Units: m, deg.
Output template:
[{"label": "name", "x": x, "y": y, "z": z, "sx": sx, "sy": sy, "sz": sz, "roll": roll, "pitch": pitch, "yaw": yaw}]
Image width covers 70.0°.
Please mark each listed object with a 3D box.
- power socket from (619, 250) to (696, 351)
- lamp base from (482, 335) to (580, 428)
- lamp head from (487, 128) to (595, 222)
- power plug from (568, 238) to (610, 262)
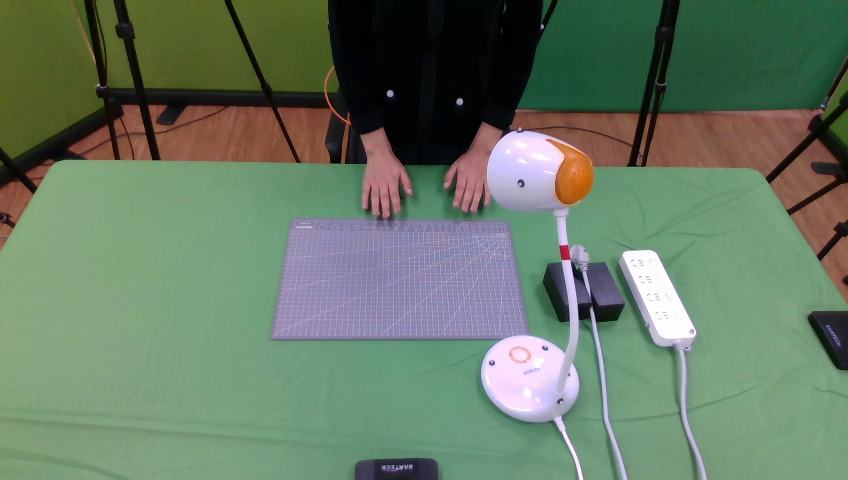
[{"label": "power socket", "x": 0.428, "y": 0.103, "z": 1.121, "sx": 0.072, "sy": 0.033, "sz": 0.225, "roll": -3, "pitch": 46, "yaw": -6}, {"label": "lamp base", "x": 0.185, "y": 0.177, "z": 0.928, "sx": 0.161, "sy": 0.181, "sz": 0.178, "roll": -22, "pitch": 53, "yaw": -23}, {"label": "lamp head", "x": 0.160, "y": -0.084, "z": 0.791, "sx": 0.112, "sy": 0.113, "sz": 0.122, "roll": -24, "pitch": 28, "yaw": -25}, {"label": "power plug", "x": 0.306, "y": 0.020, "z": 1.130, "sx": 0.073, "sy": 0.052, "sz": 0.035, "roll": -9, "pitch": 91, "yaw": -19}]
